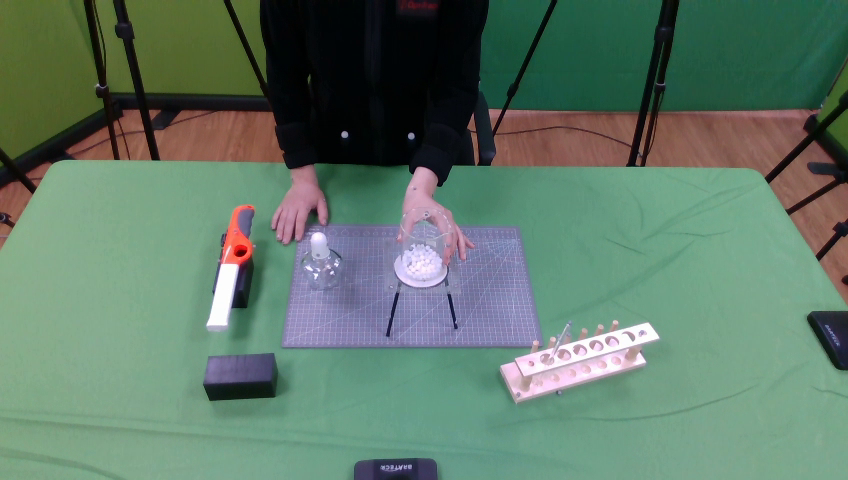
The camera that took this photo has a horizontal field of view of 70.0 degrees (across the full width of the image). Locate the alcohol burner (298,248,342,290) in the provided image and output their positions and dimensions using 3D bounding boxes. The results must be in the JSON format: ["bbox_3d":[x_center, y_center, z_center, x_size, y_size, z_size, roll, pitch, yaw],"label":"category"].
[{"bbox_3d":[-0.187,0.033,1.084,0.078,0.120,0.077,1,46,-1],"label":"alcohol burner"}]

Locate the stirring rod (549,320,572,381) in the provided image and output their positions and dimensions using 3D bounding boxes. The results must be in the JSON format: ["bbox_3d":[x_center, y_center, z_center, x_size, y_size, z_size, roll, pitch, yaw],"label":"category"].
[{"bbox_3d":[0.202,0.167,0.901,0.006,0.177,0.014,-17,55,-11],"label":"stirring rod"}]

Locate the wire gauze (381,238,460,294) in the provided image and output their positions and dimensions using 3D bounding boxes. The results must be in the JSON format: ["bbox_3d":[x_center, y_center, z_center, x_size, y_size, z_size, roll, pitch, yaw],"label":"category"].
[{"bbox_3d":[-0.008,0.042,0.985,0.125,0.011,0.120,-2,43,-2],"label":"wire gauze"}]

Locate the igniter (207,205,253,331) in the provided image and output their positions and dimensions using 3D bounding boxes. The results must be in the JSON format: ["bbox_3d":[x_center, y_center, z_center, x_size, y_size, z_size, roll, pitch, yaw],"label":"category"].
[{"bbox_3d":[-0.339,0.038,1.066,0.057,0.025,0.274,2,48,-6],"label":"igniter"}]

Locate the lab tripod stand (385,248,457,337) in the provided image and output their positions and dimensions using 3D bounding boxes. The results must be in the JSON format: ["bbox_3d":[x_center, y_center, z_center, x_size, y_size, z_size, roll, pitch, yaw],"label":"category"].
[{"bbox_3d":[-0.010,0.087,1.032,0.148,0.132,0.147,1,45,-1],"label":"lab tripod stand"}]

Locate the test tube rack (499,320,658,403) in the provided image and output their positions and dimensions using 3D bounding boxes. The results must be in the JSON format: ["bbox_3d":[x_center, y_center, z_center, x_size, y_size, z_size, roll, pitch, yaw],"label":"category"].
[{"bbox_3d":[0.252,0.187,0.994,0.243,0.085,0.066,-12,48,-15],"label":"test tube rack"}]

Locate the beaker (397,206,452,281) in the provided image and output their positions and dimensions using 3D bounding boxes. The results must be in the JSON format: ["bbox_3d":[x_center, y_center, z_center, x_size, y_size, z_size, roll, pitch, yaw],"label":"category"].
[{"bbox_3d":[0.000,0.009,0.950,0.084,0.101,0.073,10,45,6],"label":"beaker"}]

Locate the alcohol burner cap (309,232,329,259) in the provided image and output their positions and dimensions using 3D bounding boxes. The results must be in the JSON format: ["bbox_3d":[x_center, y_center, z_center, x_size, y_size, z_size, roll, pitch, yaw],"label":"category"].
[{"bbox_3d":[-0.185,0.008,1.058,0.034,0.048,0.033,0,43,0],"label":"alcohol burner cap"}]
